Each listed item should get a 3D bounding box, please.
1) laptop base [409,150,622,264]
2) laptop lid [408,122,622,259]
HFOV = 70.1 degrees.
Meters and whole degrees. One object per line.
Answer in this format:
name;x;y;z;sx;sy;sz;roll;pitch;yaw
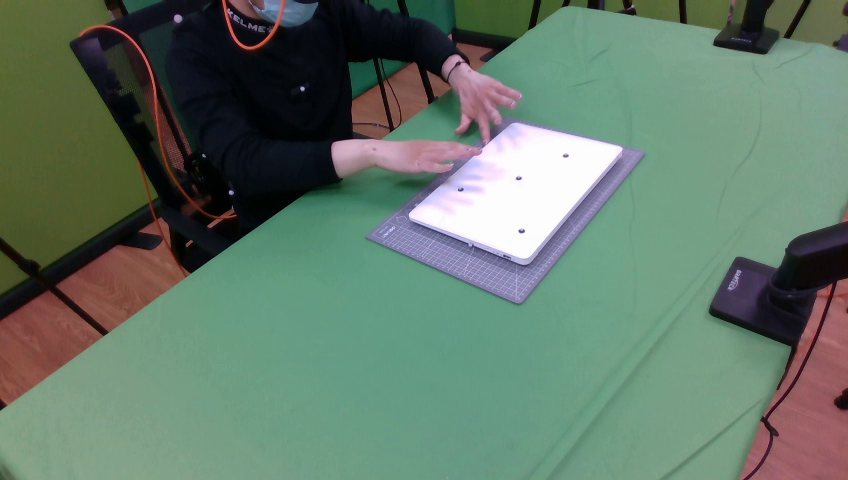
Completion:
laptop base;0.168;-0.095;1.057;0.233;0.023;0.355;20;47;33
laptop lid;0.165;-0.105;1.050;0.240;0.013;0.358;22;48;33
